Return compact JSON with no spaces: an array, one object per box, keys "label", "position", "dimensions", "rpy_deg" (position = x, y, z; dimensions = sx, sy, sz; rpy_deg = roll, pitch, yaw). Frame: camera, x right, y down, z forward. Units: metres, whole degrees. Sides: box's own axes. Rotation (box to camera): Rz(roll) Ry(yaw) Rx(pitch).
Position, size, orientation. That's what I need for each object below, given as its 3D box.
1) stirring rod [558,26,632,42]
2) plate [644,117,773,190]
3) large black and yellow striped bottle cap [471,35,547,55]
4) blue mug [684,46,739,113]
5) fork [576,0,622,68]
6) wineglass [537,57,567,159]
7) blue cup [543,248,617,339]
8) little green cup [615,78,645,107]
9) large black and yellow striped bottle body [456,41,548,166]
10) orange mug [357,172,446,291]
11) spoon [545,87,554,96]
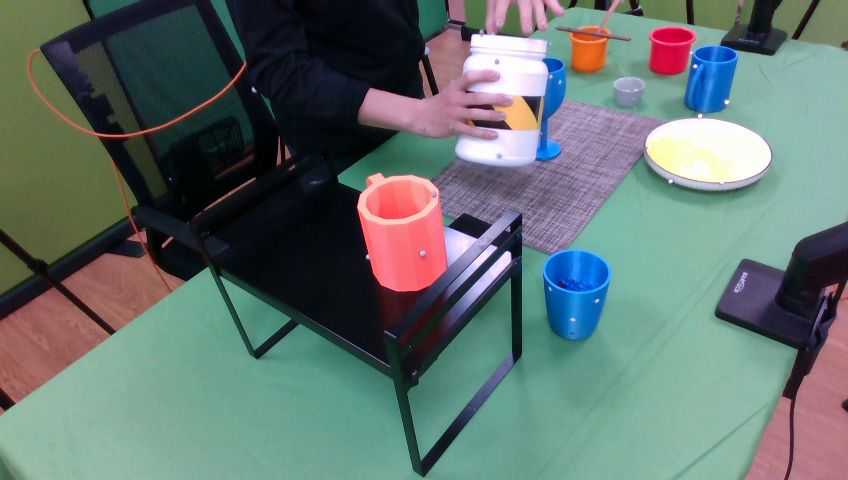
[{"label":"stirring rod","position":[0.381,-0.463,1.356],"dimensions":[0.175,0.006,0.014],"rpy_deg":[22,47,30]},{"label":"plate","position":[0.495,-0.148,1.063],"dimensions":[0.209,0.038,0.208],"rpy_deg":[-5,40,4]},{"label":"large black and yellow striped bottle cap","position":[0.129,-0.297,0.921],"dimensions":[0.115,0.019,0.114],"rpy_deg":[6,19,-1]},{"label":"blue mug","position":[0.556,-0.310,1.190],"dimensions":[0.117,0.106,0.081],"rpy_deg":[-32,46,-25]},{"label":"fork","position":[0.409,-0.484,1.381],"dimensions":[0.028,0.019,0.207],"rpy_deg":[37,101,45]},{"label":"wineglass","position":[0.221,-0.237,1.097],"dimensions":[0.074,0.173,0.073],"rpy_deg":[-4,41,4]},{"label":"blue cup","position":[0.199,0.076,0.797],"dimensions":[0.092,0.100,0.092],"rpy_deg":[-4,39,4]},{"label":"little green cup","position":[0.426,-0.306,1.257],"dimensions":[0.061,0.039,0.061],"rpy_deg":[-4,40,4]},{"label":"large black and yellow striped bottle body","position":[0.122,-0.217,0.945],"dimensions":[0.131,0.184,0.130],"rpy_deg":[4,18,-1]},{"label":"orange mug","position":[-0.030,-0.019,0.668],"dimensions":[0.084,0.101,0.125],"rpy_deg":[-23,47,-16]},{"label":"spoon","position":[0.227,-0.285,1.269],"dimensions":[0.041,0.022,0.194],"rpy_deg":[2,36,45]}]
